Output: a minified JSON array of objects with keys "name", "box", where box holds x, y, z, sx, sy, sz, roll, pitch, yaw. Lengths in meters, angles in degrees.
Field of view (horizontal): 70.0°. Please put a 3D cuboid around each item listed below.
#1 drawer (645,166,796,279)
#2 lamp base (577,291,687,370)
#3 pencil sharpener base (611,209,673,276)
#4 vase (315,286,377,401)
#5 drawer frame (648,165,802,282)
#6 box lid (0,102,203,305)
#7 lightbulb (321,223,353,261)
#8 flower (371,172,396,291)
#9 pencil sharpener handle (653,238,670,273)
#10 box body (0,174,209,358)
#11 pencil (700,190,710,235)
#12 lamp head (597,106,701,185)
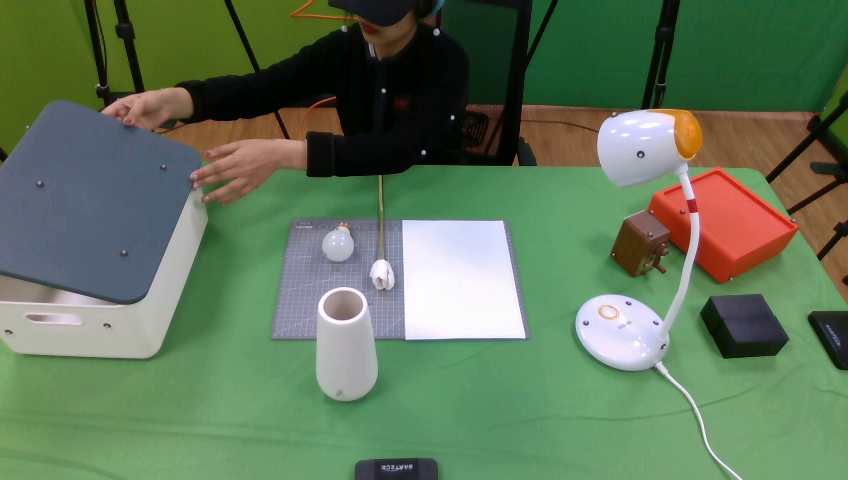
[{"name":"drawer","box":[0.600,-0.041,1.236,0.195,0.073,0.210,-21,51,-23]},{"name":"lamp base","box":[0.361,0.110,1.003,0.160,0.181,0.178,-31,57,-28]},{"name":"pencil sharpener base","box":[0.416,0.007,1.158,0.061,0.107,0.076,-21,51,-22]},{"name":"vase","box":[-0.119,0.159,0.911,0.098,0.201,0.097,2,47,-2]},{"name":"drawer frame","box":[0.603,-0.040,1.233,0.202,0.083,0.212,-21,51,-23]},{"name":"box lid","box":[-0.524,-0.073,0.963,0.264,0.015,0.369,19,43,-18]},{"name":"lightbulb","box":[-0.163,-0.001,1.164,0.059,0.060,0.107,4,30,0]},{"name":"flower","box":[-0.090,-0.034,1.228,0.044,0.038,0.359,22,35,-25]},{"name":"pencil sharpener handle","box":[0.444,0.030,1.120,0.036,0.068,0.030,-25,52,-18]},{"name":"box body","box":[-0.546,0.017,1.045,0.254,0.161,0.361,2,46,-2]},{"name":"pencil","box":[0.584,-0.059,1.256,0.012,0.012,0.193,16,35,12]},{"name":"lamp head","box":[0.328,-0.138,0.865,0.112,0.113,0.122,-36,20,-32]}]
